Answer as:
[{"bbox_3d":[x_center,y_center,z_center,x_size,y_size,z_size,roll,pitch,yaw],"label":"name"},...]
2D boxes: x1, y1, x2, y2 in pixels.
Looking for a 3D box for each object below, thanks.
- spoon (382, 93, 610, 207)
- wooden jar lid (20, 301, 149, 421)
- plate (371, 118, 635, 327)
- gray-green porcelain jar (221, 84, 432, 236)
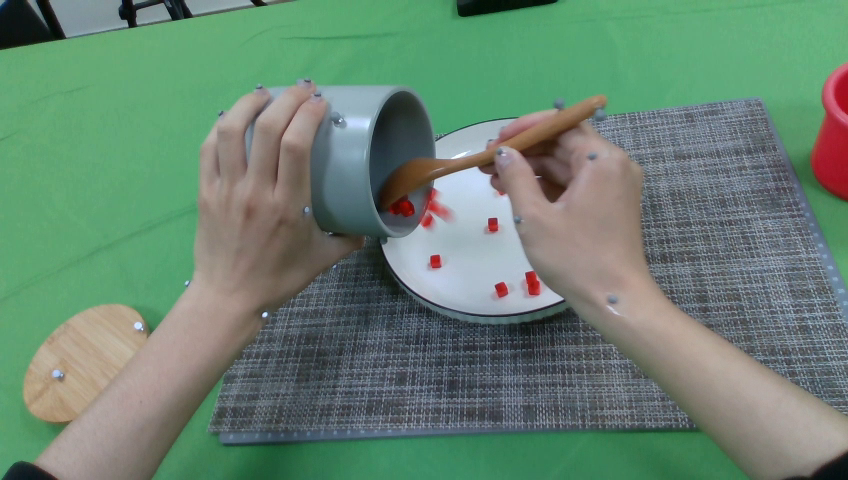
[{"bbox_3d":[0.036,-0.057,0.396,0.193,0.022,0.041,-14,41,41],"label":"spoon"},{"bbox_3d":[-0.279,0.100,0.505,0.108,0.021,0.107,-6,52,8],"label":"wooden jar lid"},{"bbox_3d":[0.062,-0.016,0.493,0.207,0.039,0.205,-7,51,9],"label":"plate"},{"bbox_3d":[-0.072,-0.060,0.442,0.126,0.107,0.105,6,55,23],"label":"gray-green porcelain jar"}]
